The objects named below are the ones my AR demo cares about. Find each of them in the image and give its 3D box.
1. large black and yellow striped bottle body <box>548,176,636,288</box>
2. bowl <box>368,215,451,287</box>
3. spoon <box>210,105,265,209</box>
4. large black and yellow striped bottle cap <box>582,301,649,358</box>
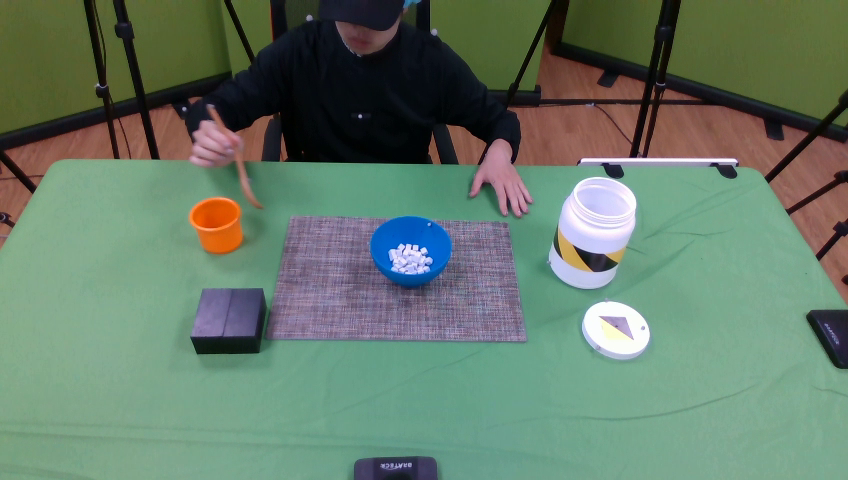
[{"bbox_3d":[0.310,-0.014,1.123,0.131,0.185,0.130,2,46,-2],"label":"large black and yellow striped bottle body"},{"bbox_3d":[-0.028,0.033,1.119,0.151,0.077,0.150,2,46,-2],"label":"bowl"},{"bbox_3d":[-0.320,-0.139,1.041,0.021,0.194,0.041,-23,19,-14],"label":"spoon"},{"bbox_3d":[0.340,0.157,1.077,0.115,0.019,0.114,1,47,-1],"label":"large black and yellow striped bottle cap"}]
